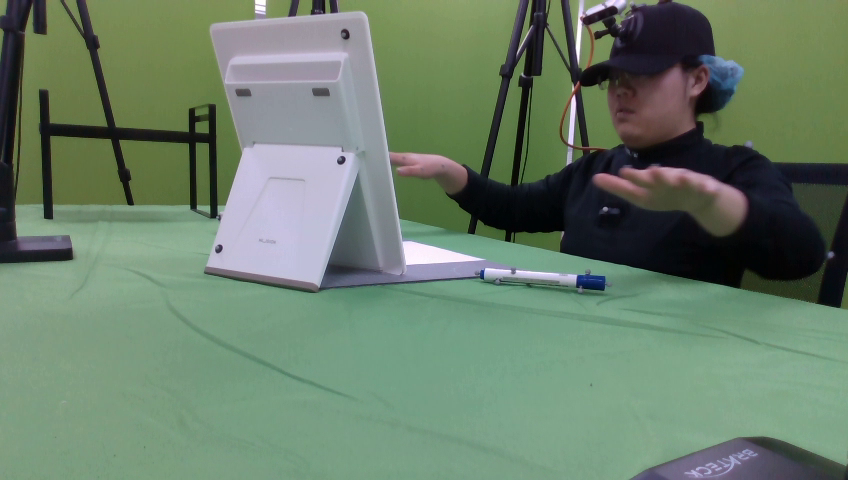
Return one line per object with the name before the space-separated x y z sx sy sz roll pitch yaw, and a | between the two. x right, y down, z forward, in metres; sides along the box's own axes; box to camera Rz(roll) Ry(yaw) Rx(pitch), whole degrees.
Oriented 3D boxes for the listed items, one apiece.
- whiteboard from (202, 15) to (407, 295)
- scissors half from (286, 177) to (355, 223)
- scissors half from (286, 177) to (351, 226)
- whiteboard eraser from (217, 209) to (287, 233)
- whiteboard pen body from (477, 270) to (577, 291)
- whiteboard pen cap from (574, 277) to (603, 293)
whiteboard | -0.167 -0.073 0.668 0.216 0.305 0.144 7 30 28
scissors half | -0.229 -0.091 1.337 0.175 0.013 0.040 33 14 -13
scissors half | -0.232 -0.085 1.318 0.175 0.013 0.040 38 19 5
whiteboard eraser | -0.310 -0.034 1.094 0.113 0.042 0.055 -2 11 -38
whiteboard pen body | 0.131 0.048 0.706 0.140 0.017 0.017 4 8 18
whiteboard pen cap | 0.186 0.051 0.687 0.033 0.018 0.018 4 8 18
